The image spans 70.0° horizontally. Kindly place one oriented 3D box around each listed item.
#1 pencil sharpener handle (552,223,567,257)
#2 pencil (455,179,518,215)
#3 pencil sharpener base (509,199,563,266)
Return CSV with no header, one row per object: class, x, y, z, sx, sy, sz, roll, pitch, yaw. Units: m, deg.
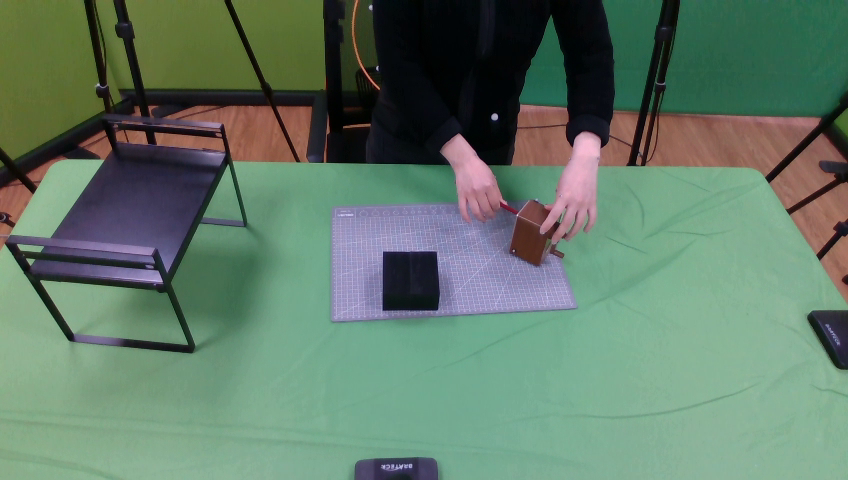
pencil sharpener handle,0.258,0.002,1.132,0.030,0.068,0.036,28,47,21
pencil,0.141,-0.073,1.176,0.193,0.012,0.012,30,52,22
pencil sharpener base,0.216,-0.012,1.160,0.076,0.107,0.061,28,50,21
